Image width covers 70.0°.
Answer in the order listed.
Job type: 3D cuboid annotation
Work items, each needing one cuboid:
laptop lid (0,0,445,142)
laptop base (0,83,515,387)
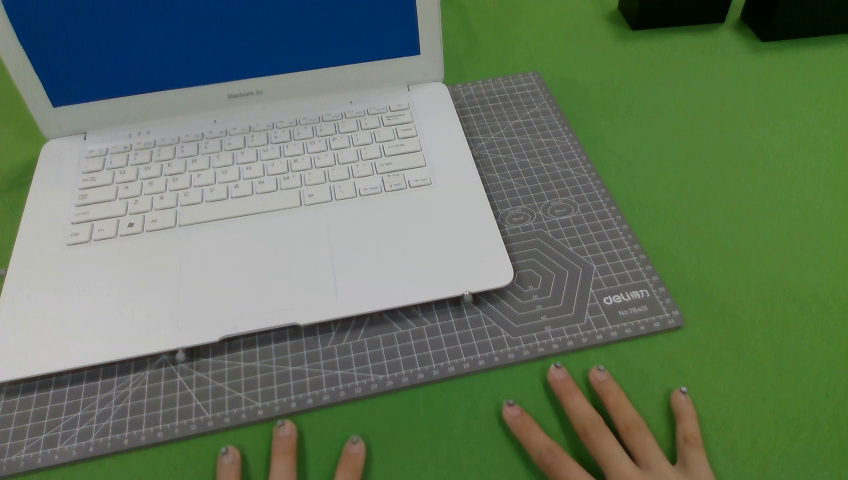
[{"bbox_3d":[-0.161,-0.200,0.470,0.357,0.244,0.013,-11,40,-5],"label":"laptop lid"},{"bbox_3d":[-0.130,-0.021,0.473,0.355,0.023,0.233,-10,54,-6],"label":"laptop base"}]
